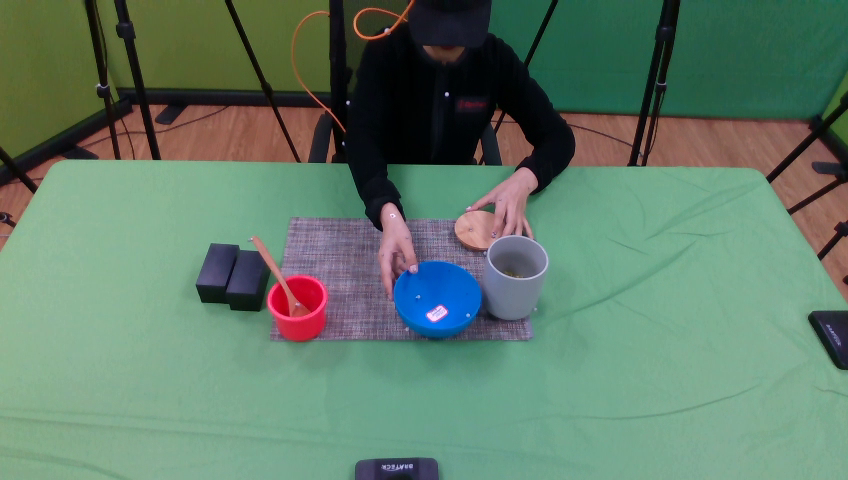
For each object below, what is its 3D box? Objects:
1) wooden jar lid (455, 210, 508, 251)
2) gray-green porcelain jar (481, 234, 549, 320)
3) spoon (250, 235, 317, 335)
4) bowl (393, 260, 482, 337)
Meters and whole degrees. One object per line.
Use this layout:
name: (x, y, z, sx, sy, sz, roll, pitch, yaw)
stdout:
wooden jar lid: (0.114, -0.017, 1.220, 0.108, 0.021, 0.107, 4, 45, -4)
gray-green porcelain jar: (0.156, 0.070, 1.064, 0.106, 0.127, 0.105, 2, 46, -2)
spoon: (-0.237, 0.075, 1.019, 0.041, 0.021, 0.194, -32, 100, -32)
bowl: (0.021, 0.115, 1.045, 0.151, 0.077, 0.150, 2, 46, -2)
